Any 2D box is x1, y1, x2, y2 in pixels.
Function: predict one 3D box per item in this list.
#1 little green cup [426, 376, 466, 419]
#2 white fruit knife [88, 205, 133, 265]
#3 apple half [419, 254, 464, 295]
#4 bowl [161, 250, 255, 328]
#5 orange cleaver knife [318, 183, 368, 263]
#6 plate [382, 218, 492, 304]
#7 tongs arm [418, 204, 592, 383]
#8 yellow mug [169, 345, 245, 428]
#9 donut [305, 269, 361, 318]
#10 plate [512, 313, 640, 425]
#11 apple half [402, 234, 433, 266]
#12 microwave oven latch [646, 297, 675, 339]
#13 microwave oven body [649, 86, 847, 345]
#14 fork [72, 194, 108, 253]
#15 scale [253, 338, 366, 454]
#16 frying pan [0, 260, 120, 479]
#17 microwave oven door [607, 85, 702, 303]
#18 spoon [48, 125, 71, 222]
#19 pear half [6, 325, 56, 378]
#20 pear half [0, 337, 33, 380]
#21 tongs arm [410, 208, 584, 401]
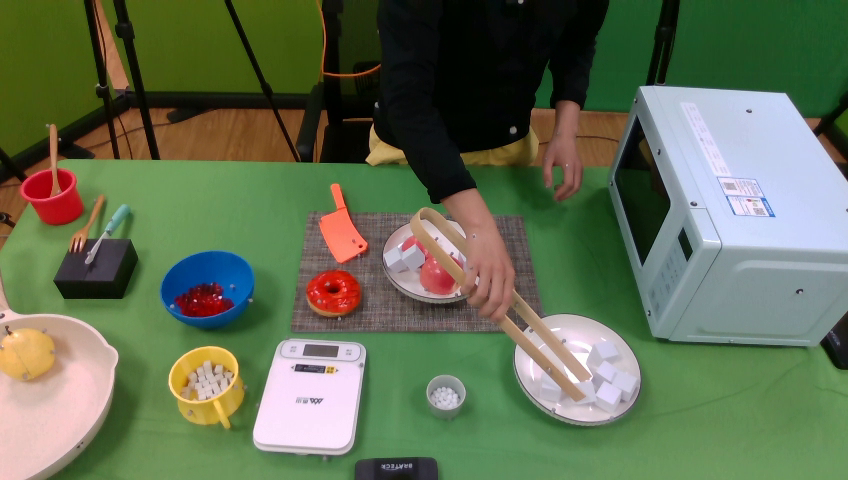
[{"bbox_3d":[0.033,0.248,0.950,0.061,0.039,0.061,2,46,-2],"label":"little green cup"},{"bbox_3d":[-0.584,-0.013,1.129,0.016,0.027,0.206,0,31,-5],"label":"white fruit knife"},{"bbox_3d":[0.035,0.056,1.109,0.074,0.053,0.081,37,55,25],"label":"apple half"},{"bbox_3d":[-0.362,0.098,1.039,0.151,0.077,0.150,2,45,-2],"label":"bowl"},{"bbox_3d":[-0.173,-0.037,1.218,0.077,0.012,0.210,-16,50,-12],"label":"orange cleaver knife"},{"bbox_3d":[0.023,0.042,1.143,0.209,0.038,0.208,2,46,-2],"label":"plate"},{"bbox_3d":[0.124,0.089,0.968,0.384,0.026,0.051,49,40,3],"label":"tongs arm"},{"bbox_3d":[-0.322,0.230,0.922,0.100,0.064,0.130,-24,53,-25],"label":"yellow mug"},{"bbox_3d":[-0.160,0.094,1.075,0.099,0.048,0.098,4,45,-4],"label":"donut"},{"bbox_3d":[0.246,0.213,0.999,0.208,0.039,0.206,2,46,-2],"label":"plate"},{"bbox_3d":[-0.004,0.013,1.159,0.081,0.033,0.081,5,44,-4],"label":"apple half"},{"bbox_3d":[0.412,0.134,1.061,0.030,0.029,0.078,4,45,1],"label":"microwave oven latch"},{"bbox_3d":[0.567,-0.053,1.118,0.326,0.261,0.439,2,45,-1],"label":"microwave oven body"},{"bbox_3d":[-0.634,-0.036,1.158,0.028,0.019,0.206,-8,32,-8],"label":"fork"},{"bbox_3d":[-0.175,0.236,0.951,0.149,0.032,0.199,4,45,-1],"label":"scale"},{"bbox_3d":[-0.647,0.164,0.936,0.307,0.103,0.485,-19,58,-22],"label":"frying pan"},{"bbox_3d":[0.423,-0.094,1.140,0.039,0.245,0.353,2,46,-1],"label":"microwave oven door"},{"bbox_3d":[-0.718,-0.131,1.188,0.041,0.021,0.193,-3,90,-7],"label":"spoon"},{"bbox_3d":[-0.608,0.158,0.935,0.076,0.110,0.056,31,51,20],"label":"pear half"},{"bbox_3d":[-0.631,0.184,0.921,0.070,0.088,0.031,29,49,19],"label":"pear half"},{"bbox_3d":[0.109,0.102,0.943,0.387,0.028,0.028,47,43,2],"label":"tongs arm"}]
